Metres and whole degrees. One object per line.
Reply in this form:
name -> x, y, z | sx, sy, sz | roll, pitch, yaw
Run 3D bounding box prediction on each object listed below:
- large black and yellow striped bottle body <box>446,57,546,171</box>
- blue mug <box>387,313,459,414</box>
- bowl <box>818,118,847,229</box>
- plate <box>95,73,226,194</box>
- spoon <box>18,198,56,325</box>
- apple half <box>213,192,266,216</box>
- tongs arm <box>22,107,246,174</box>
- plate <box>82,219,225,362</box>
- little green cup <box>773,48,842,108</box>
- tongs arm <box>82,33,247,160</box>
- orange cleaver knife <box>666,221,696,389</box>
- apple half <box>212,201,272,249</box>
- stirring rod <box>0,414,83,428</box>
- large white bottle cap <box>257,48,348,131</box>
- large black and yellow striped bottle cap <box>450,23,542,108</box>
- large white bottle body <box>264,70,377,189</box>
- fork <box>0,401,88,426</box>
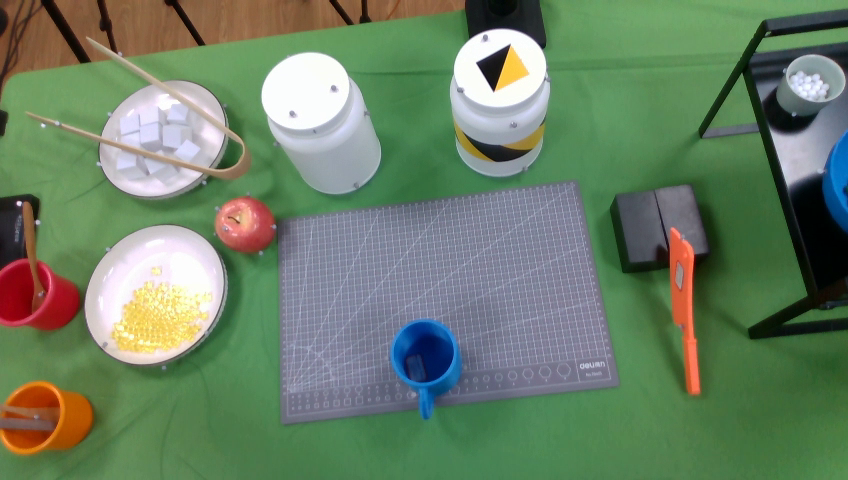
large black and yellow striped bottle body -> 0.098, -0.189, 0.833 | 0.130, 0.185, 0.130 | -2, 71, 6
blue mug -> 0.001, 0.160, 0.765 | 0.082, 0.106, 0.116 | 1, 71, 6
bowl -> 0.470, -0.055, 0.615 | 0.151, 0.077, 0.150 | -2, 71, 6
plate -> -0.409, -0.165, 0.955 | 0.207, 0.039, 0.206 | -2, 72, 5
spoon -> -0.546, 0.033, 0.846 | 0.041, 0.021, 0.195 | 12, 118, 11
apple half -> -0.270, -0.050, 0.882 | 0.081, 0.081, 0.032 | -21, 75, -1
tongs arm -> -0.450, -0.163, 0.924 | 0.383, 0.027, 0.050 | 20, 71, 14
plate -> -0.383, 0.072, 0.873 | 0.209, 0.038, 0.208 | -2, 72, 6
little green cup -> 0.428, -0.180, 0.681 | 0.061, 0.039, 0.061 | -2, 72, 6
tongs arm -> -0.410, -0.233, 0.946 | 0.385, 0.028, 0.028 | 34, 71, 18
orange cleaver knife -> 0.324, 0.082, 0.770 | 0.012, 0.077, 0.212 | -8, 102, 3
apple half -> -0.256, -0.015, 0.871 | 0.081, 0.075, 0.053 | -20, 75, -4
stirring rod -> -0.538, 0.231, 0.779 | 0.177, 0.006, 0.014 | 15, 56, -32
large white bottle cap -> -0.155, -0.193, 0.770 | 0.115, 0.018, 0.114 | -2, 71, 6
large black and yellow striped bottle cap -> 0.089, -0.219, 0.755 | 0.115, 0.019, 0.114 | -1, 73, 4
large white bottle body -> -0.144, -0.165, 0.850 | 0.130, 0.186, 0.129 | -2, 70, 6
fork -> -0.548, 0.213, 0.783 | 0.209, 0.018, 0.028 | 24, 69, -32
